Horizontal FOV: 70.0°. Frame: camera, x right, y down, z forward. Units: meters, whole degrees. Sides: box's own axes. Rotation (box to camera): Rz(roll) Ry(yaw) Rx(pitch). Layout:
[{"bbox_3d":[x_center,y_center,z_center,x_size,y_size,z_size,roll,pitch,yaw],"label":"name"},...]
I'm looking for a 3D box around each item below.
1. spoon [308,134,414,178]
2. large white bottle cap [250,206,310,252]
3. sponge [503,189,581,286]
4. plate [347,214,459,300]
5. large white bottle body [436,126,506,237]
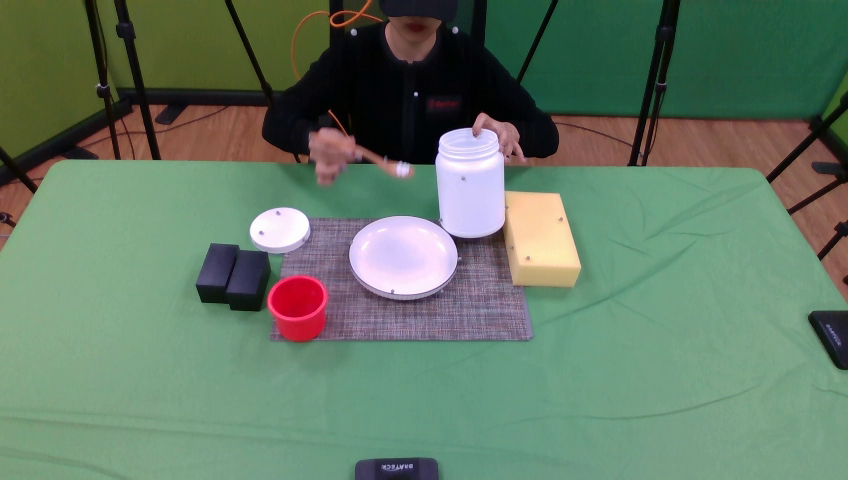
[{"bbox_3d":[-0.109,-0.149,1.059,0.194,0.022,0.041,22,35,-15],"label":"spoon"},{"bbox_3d":[-0.284,-0.023,1.198,0.115,0.018,0.114,1,46,0],"label":"large white bottle cap"},{"bbox_3d":[0.224,-0.007,1.192,0.118,0.061,0.205,1,47,-6],"label":"sponge"},{"bbox_3d":[-0.040,0.034,1.146,0.209,0.038,0.208,2,47,-2],"label":"plate"},{"bbox_3d":[0.090,-0.114,1.164,0.130,0.185,0.130,-4,30,3],"label":"large white bottle body"}]
